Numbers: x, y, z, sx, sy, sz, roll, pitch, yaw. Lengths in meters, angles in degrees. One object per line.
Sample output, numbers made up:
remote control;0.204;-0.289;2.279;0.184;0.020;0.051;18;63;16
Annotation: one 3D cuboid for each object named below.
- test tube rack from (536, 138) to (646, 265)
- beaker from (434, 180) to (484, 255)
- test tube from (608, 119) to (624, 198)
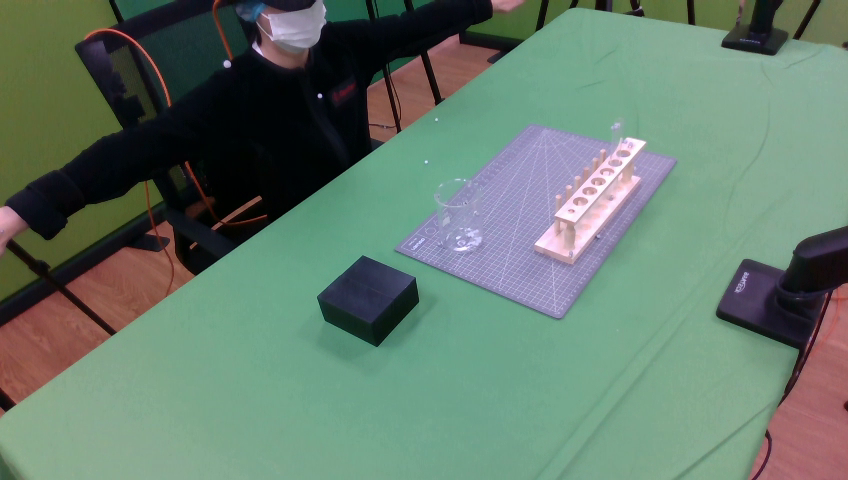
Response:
test tube rack;0.268;-0.071;0.964;0.066;0.085;0.243;23;49;32
beaker;0.058;-0.035;0.944;0.073;0.101;0.084;16;45;26
test tube;0.300;-0.124;0.945;0.017;0.151;0.017;-6;44;7
